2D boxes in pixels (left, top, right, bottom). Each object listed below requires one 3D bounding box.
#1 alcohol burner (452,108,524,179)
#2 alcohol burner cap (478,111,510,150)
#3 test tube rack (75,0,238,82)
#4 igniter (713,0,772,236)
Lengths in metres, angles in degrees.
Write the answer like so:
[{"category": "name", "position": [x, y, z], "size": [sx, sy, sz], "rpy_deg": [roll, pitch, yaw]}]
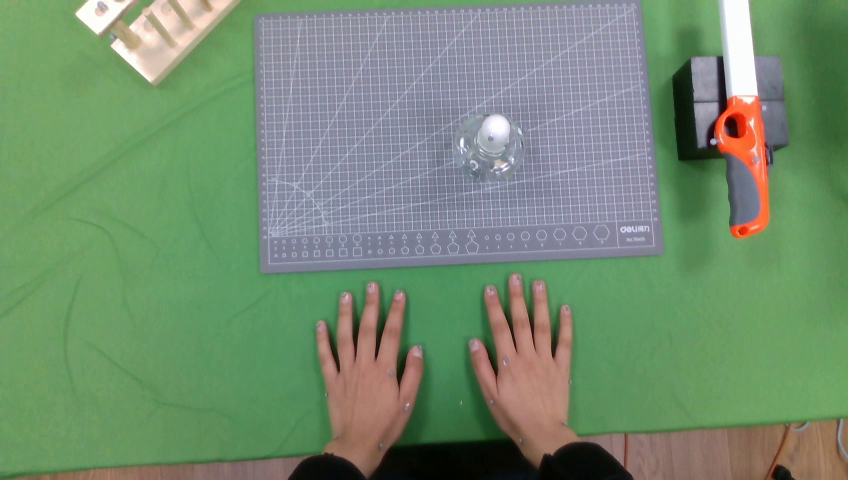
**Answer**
[{"category": "alcohol burner", "position": [0.069, -0.106, 0.632], "size": [0.078, 0.119, 0.077], "rpy_deg": [0, 82, -2]}, {"category": "alcohol burner cap", "position": [0.070, -0.110, 0.596], "size": [0.034, 0.048, 0.034], "rpy_deg": [0, 86, 3]}, {"category": "test tube rack", "position": [-0.249, -0.295, 0.661], "size": [0.066, 0.085, 0.242], "rpy_deg": [42, 85, 4]}, {"category": "igniter", "position": [0.334, -0.141, 0.640], "size": [0.057, 0.025, 0.275], "rpy_deg": [1, 82, 1]}]
